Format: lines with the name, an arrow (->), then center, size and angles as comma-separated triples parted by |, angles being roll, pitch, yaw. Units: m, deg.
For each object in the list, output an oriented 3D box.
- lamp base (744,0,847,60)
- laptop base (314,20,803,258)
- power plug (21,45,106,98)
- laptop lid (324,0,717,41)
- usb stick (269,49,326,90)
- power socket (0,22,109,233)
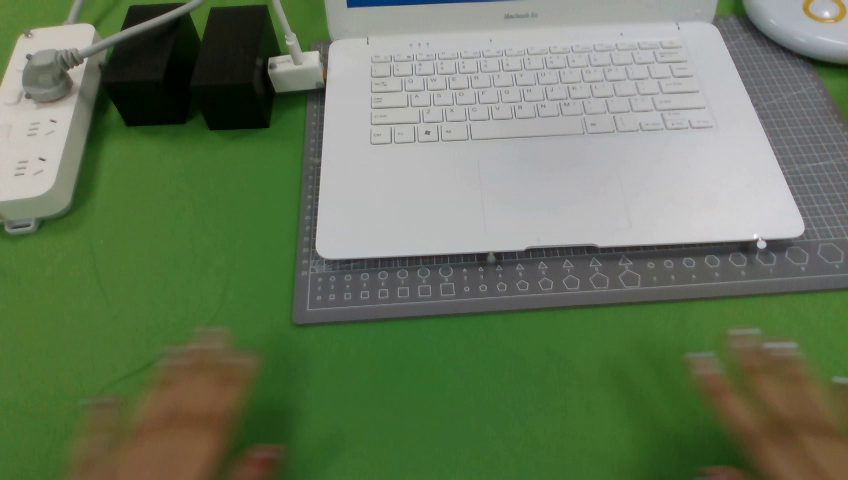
lamp base -> 0.388, -0.277, 0.512 | 0.159, 0.182, 0.178 | 29, 58, 20
laptop base -> 0.093, -0.090, 0.496 | 0.354, 0.023, 0.233 | -3, 60, 0
power plug -> -0.294, -0.131, 0.500 | 0.072, 0.053, 0.035 | 2, 56, 3
laptop lid -> 0.083, -0.284, 0.491 | 0.357, 0.244, 0.013 | -4, 35, 1
usb stick -> -0.102, -0.148, 0.526 | 0.059, 0.027, 0.021 | -4, 58, 0
power socket -> -0.321, -0.107, 0.512 | 0.072, 0.033, 0.224 | -6, 56, -3
